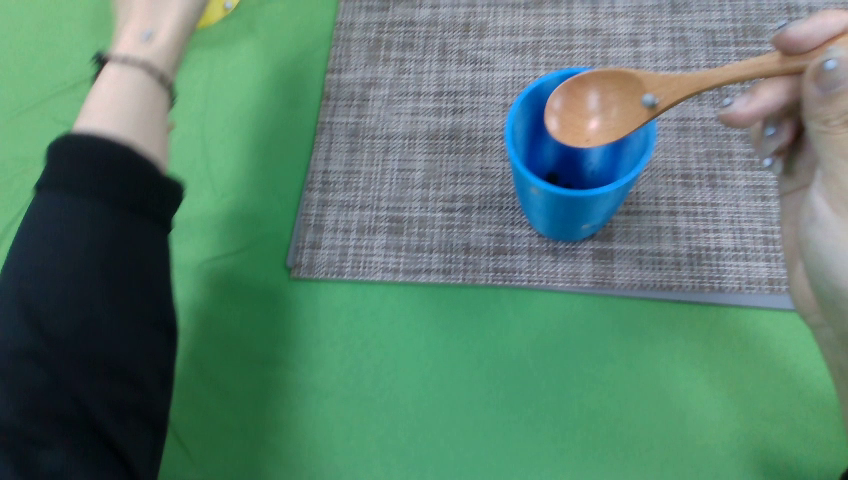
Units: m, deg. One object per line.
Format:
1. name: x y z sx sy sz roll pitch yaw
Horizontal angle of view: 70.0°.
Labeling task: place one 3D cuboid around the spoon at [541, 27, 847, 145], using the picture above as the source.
1. spoon: 0.136 -0.073 0.264 0.192 0.022 0.041 -3 81 47

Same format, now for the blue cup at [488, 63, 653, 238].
1. blue cup: 0.094 -0.047 0.391 0.092 0.101 0.092 -3 68 8

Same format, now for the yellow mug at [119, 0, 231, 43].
1. yellow mug: -0.227 -0.233 0.530 0.099 0.064 0.130 14 71 12
